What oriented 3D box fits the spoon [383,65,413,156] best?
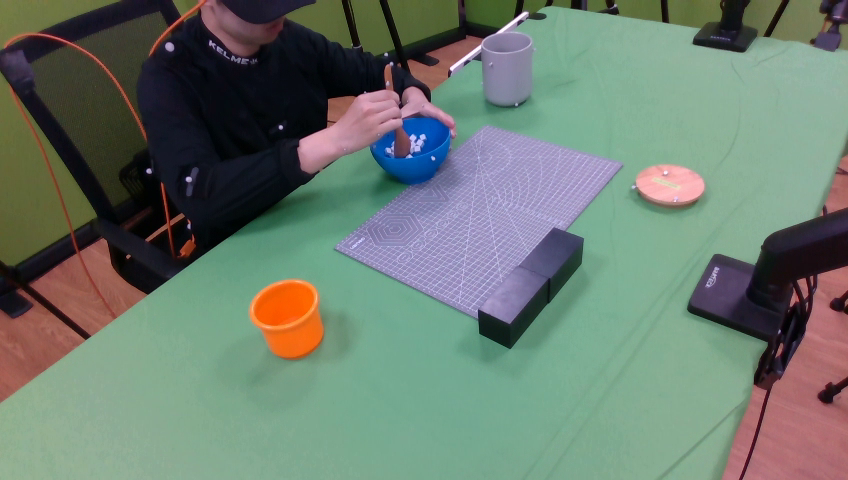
[{"bbox_3d":[-0.050,-0.222,1.061,0.042,0.195,0.021,-38,50,-19],"label":"spoon"}]

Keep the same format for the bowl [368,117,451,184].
[{"bbox_3d":[-0.021,-0.155,1.107,0.151,0.077,0.150,-5,38,5],"label":"bowl"}]

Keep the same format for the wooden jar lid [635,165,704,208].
[{"bbox_3d":[0.410,-0.089,1.014,0.108,0.021,0.108,-5,42,5],"label":"wooden jar lid"}]

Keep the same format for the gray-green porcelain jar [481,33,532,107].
[{"bbox_3d":[0.175,-0.355,1.278,0.106,0.127,0.105,-4,41,4],"label":"gray-green porcelain jar"}]
